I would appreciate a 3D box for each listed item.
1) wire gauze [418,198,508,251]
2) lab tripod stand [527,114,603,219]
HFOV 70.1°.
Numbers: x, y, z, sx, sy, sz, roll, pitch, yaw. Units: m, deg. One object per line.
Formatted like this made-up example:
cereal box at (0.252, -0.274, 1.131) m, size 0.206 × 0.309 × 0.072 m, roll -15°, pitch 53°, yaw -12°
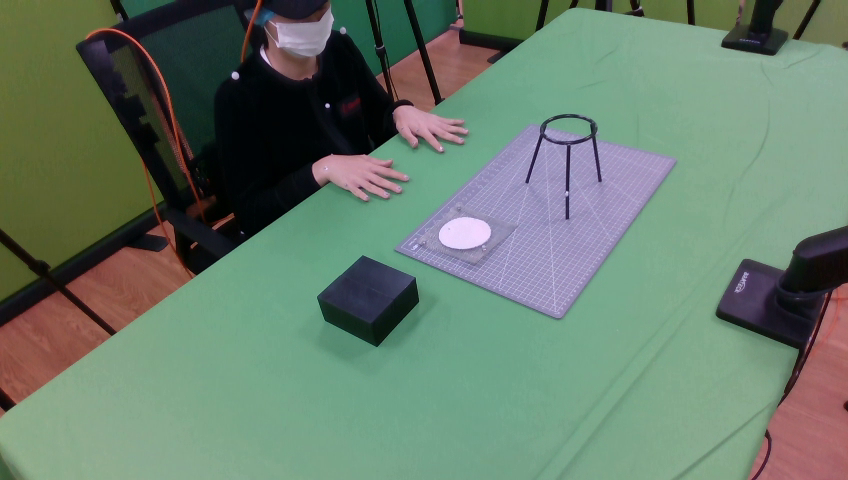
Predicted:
wire gauze at (0.065, -0.028, 0.983) m, size 0.124 × 0.011 × 0.121 m, roll 2°, pitch 42°, yaw 22°
lab tripod stand at (0.234, -0.129, 1.002) m, size 0.148 × 0.132 × 0.147 m, roll -6°, pitch 40°, yaw 6°
